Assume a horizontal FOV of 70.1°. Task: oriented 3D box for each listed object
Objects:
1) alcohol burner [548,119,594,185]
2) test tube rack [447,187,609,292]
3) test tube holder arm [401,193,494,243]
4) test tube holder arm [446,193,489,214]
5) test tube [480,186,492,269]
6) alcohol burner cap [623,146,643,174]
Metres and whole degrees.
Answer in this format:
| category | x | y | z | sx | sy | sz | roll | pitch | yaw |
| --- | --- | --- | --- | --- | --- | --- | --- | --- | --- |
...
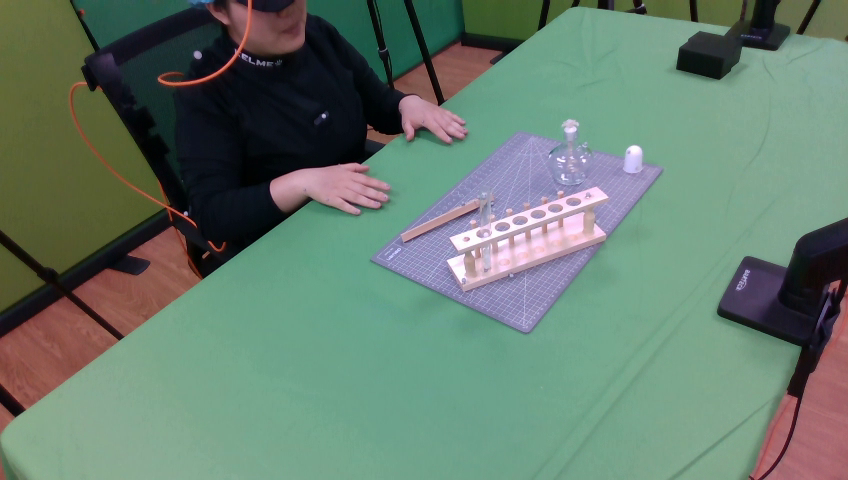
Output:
| category | x | y | z | sx | sy | sz | roll | pitch | yaw |
| --- | --- | --- | --- | --- | --- | --- | --- | --- | --- |
| alcohol burner | 0.254 | -0.155 | 1.043 | 0.078 | 0.120 | 0.077 | -7 | 40 | 6 |
| test tube rack | 0.154 | -0.011 | 0.913 | 0.243 | 0.085 | 0.066 | -19 | 41 | -11 |
| test tube holder arm | 0.041 | -0.039 | 1.018 | 0.179 | 0.015 | 0.013 | -26 | 9 | -18 |
| test tube holder arm | 0.078 | -0.058 | 1.037 | 0.088 | 0.015 | 0.010 | -26 | 9 | -18 |
| test tube | 0.088 | -0.014 | 0.852 | 0.017 | 0.151 | 0.017 | -3 | 42 | 3 |
| alcohol burner cap | 0.369 | -0.143 | 1.061 | 0.034 | 0.048 | 0.033 | -6 | 41 | 6 |
